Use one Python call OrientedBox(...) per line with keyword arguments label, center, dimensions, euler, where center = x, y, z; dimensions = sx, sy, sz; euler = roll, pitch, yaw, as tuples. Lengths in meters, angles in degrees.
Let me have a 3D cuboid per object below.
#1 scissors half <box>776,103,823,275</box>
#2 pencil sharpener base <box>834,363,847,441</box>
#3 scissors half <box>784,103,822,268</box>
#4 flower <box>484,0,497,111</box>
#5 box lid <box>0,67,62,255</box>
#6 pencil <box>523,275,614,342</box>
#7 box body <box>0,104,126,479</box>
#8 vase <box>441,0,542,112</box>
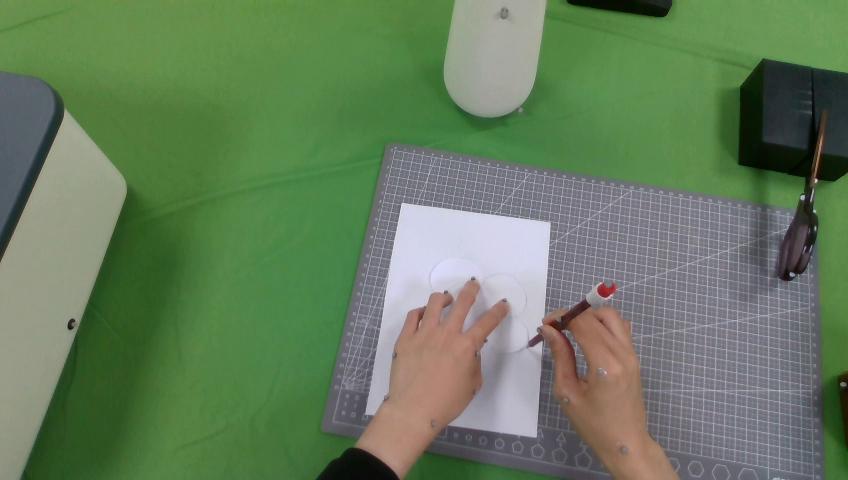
OrientedBox(label="scissors half", center=(0.369, -0.051, 0.591), dimensions=(0.012, 0.040, 0.175), euler=(15, 89, 19))
OrientedBox(label="pencil sharpener base", center=(0.411, 0.139, 0.511), dimensions=(0.061, 0.107, 0.076), euler=(5, 71, 1))
OrientedBox(label="scissors half", center=(0.364, -0.055, 0.572), dimensions=(0.013, 0.040, 0.174), euler=(15, 72, 14))
OrientedBox(label="flower", center=(0.062, -0.250, 0.503), dimensions=(0.044, 0.365, 0.038), euler=(3, 53, 4))
OrientedBox(label="box lid", center=(-0.442, 0.018, 0.430), dimensions=(0.263, 0.015, 0.369), euler=(10, 71, 2))
OrientedBox(label="pencil", center=(0.107, 0.061, 0.482), dimensions=(0.012, 0.195, 0.012), euler=(3, 69, -7))
OrientedBox(label="box body", center=(-0.442, 0.045, 0.500), dimensions=(0.254, 0.161, 0.362), euler=(10, 71, 3))
OrientedBox(label="vase", center=(0.066, -0.209, 0.577), dimensions=(0.098, 0.201, 0.097), euler=(0, 69, 1))
